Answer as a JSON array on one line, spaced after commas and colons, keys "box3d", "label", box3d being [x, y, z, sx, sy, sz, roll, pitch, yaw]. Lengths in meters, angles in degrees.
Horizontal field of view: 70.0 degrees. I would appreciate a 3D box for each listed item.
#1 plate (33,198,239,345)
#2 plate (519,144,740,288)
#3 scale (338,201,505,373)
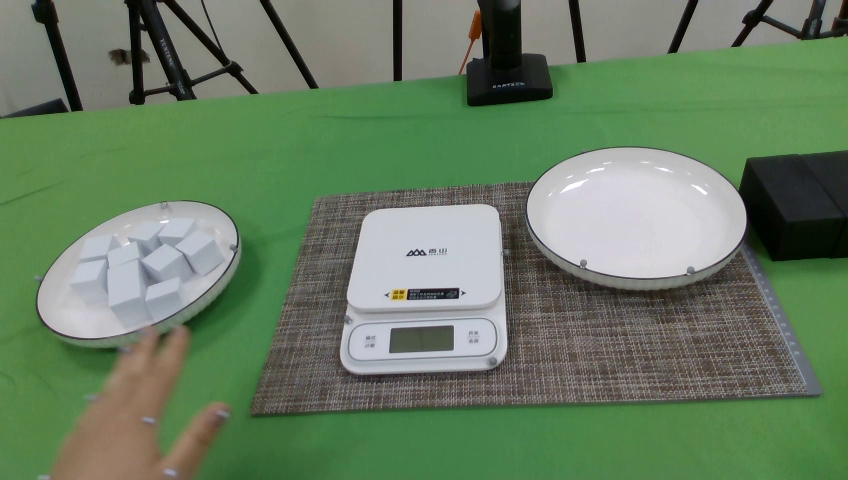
[{"box3d": [-0.296, 0.033, 0.643, 0.209, 0.038, 0.207, -5, 41, 5], "label": "plate"}, {"box3d": [0.201, -0.024, 0.610, 0.207, 0.039, 0.205, -5, 42, 5], "label": "plate"}, {"box3d": [0.000, 0.037, 0.583, 0.148, 0.032, 0.199, -3, 43, 7], "label": "scale"}]
